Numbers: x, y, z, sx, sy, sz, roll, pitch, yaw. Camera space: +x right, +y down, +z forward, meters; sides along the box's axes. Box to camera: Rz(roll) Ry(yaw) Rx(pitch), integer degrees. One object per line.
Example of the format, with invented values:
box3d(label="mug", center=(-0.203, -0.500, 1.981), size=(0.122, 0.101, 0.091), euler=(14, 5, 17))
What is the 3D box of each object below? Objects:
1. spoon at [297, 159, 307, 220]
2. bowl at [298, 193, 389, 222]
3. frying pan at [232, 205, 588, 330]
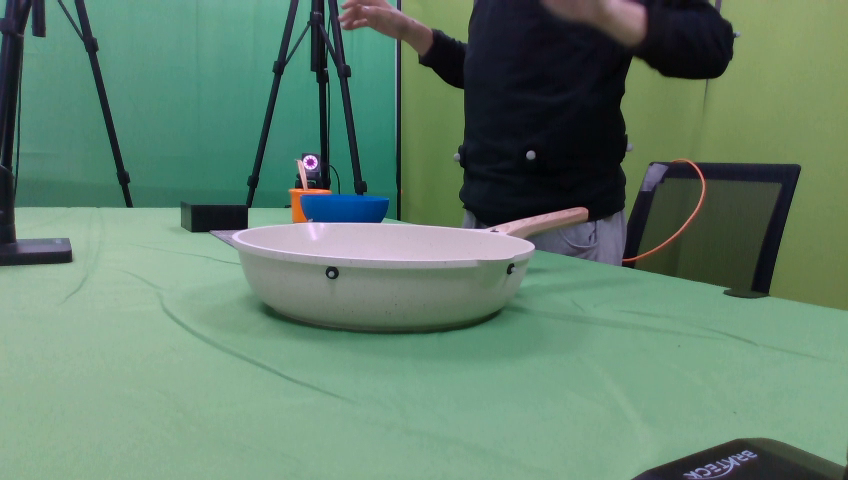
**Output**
box3d(label="spoon", center=(-0.264, -0.114, 1.338), size=(0.042, 0.193, 0.021), euler=(0, -37, -21))
box3d(label="bowl", center=(-0.136, -0.037, 1.017), size=(0.151, 0.077, 0.151), euler=(2, 7, 0))
box3d(label="frying pan", center=(0.039, 0.005, 0.670), size=(0.490, 0.102, 0.305), euler=(-15, 17, -40))
